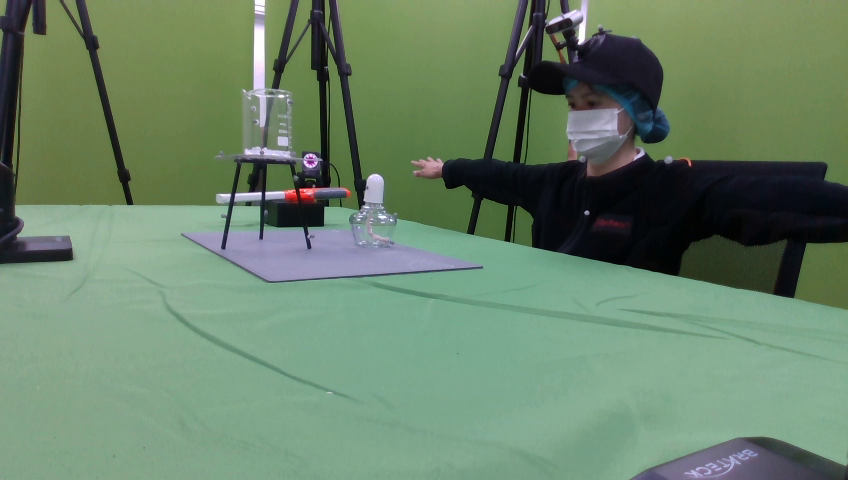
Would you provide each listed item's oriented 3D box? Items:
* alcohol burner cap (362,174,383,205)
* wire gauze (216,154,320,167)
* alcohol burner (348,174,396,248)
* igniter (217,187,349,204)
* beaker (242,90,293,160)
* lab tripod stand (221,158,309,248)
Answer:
[{"bbox_3d":[-0.081,-0.082,0.969,0.034,0.048,0.034,7,8,-1],"label":"alcohol burner cap"},{"bbox_3d":[-0.236,-0.121,0.906,0.126,0.011,0.121,0,8,-33],"label":"wire gauze"},{"bbox_3d":[-0.083,-0.046,0.973,0.078,0.119,0.078,4,5,0],"label":"alcohol burner"},{"bbox_3d":[-0.285,-0.093,1.256,0.278,0.025,0.057,-6,12,-34],"label":"igniter"},{"bbox_3d":[-0.235,-0.169,0.899,0.074,0.100,0.084,4,7,23],"label":"beaker"},{"bbox_3d":[-0.244,-0.057,0.917,0.148,0.131,0.148,1,7,0],"label":"lab tripod stand"}]
